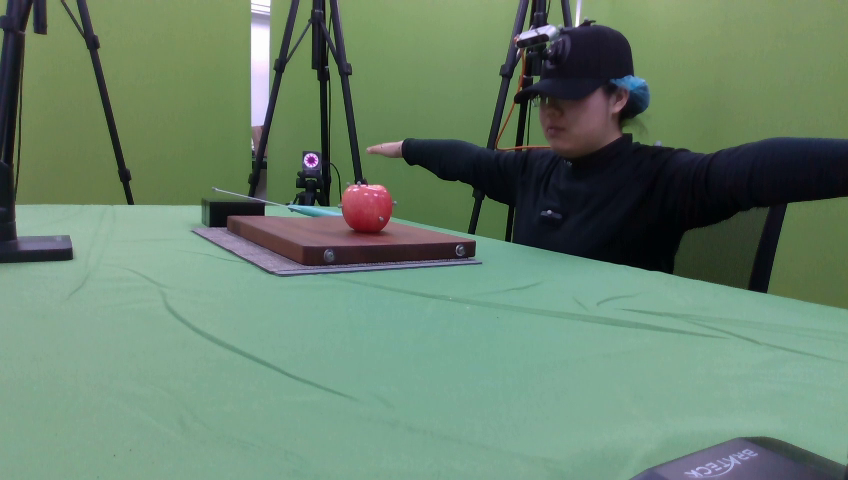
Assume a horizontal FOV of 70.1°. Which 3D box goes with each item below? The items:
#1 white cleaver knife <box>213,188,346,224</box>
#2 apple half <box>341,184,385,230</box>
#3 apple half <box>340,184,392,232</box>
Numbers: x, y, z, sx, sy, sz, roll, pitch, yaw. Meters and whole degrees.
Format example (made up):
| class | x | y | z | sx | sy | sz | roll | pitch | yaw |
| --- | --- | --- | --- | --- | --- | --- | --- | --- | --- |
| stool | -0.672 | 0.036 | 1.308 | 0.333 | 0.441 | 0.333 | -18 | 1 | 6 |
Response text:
| class | x | y | z | sx | sy | sz | roll | pitch | yaw |
| --- | --- | --- | --- | --- | --- | --- | --- | --- | --- |
| white cleaver knife | -0.282 | -0.067 | 1.226 | 0.288 | 0.021 | 0.065 | 11 | 7 | -29 |
| apple half | -0.103 | -0.055 | 0.968 | 0.082 | 0.081 | 0.032 | -2 | 13 | -32 |
| apple half | -0.084 | -0.048 | 0.936 | 0.081 | 0.074 | 0.053 | 1 | 11 | -32 |
